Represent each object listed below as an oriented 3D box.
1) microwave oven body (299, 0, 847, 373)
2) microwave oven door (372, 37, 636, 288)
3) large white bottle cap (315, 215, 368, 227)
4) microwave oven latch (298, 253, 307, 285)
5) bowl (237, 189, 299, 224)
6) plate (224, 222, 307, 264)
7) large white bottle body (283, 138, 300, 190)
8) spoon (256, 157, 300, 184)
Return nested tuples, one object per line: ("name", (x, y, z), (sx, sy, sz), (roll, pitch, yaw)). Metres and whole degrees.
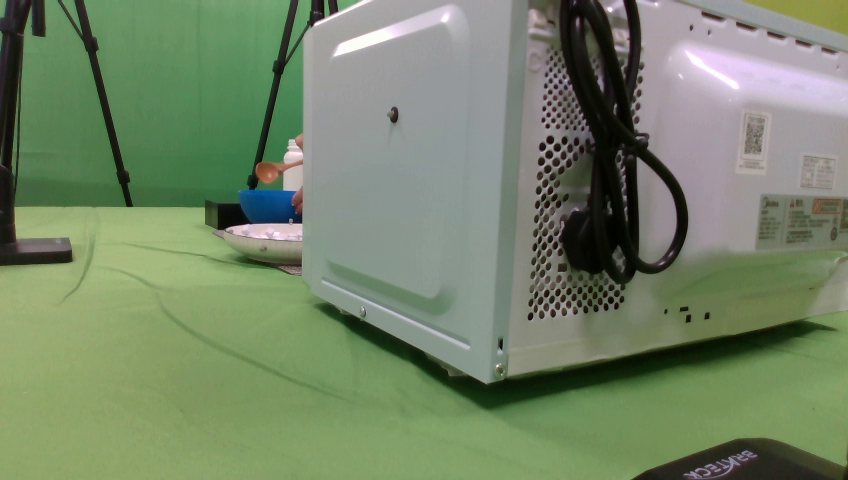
("microwave oven body", (0.151, -0.055, 0.542), (0.444, 0.260, 0.324), (-2, 7, -33))
("microwave oven door", (0.110, -0.080, 0.686), (0.358, 0.243, 0.039), (-2, 9, -33))
("large white bottle cap", (-0.178, -0.041, 1.309), (0.115, 0.018, 0.115), (2, 6, 0))
("microwave oven latch", (-0.081, 0.027, 0.582), (0.079, 0.029, 0.030), (-1, 7, -32))
("bowl", (-0.247, -0.045, 1.054), (0.151, 0.077, 0.151), (3, 8, 0))
("plate", (-0.171, 0.004, 0.849), (0.209, 0.038, 0.209), (2, 7, 0))
("large white bottle body", (-0.265, -0.143, 1.424), (0.131, 0.184, 0.130), (2, 7, 0))
("spoon", (-0.254, -0.154, 1.182), (0.021, 0.041, 0.194), (-2, 21, 42))
